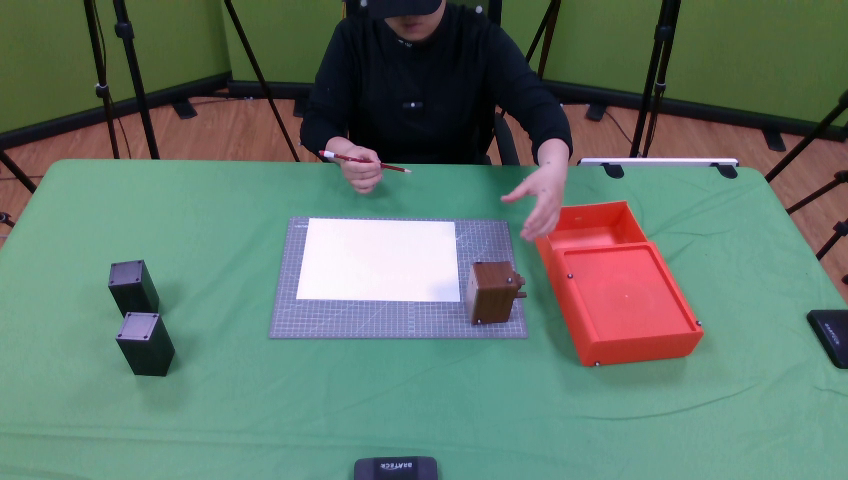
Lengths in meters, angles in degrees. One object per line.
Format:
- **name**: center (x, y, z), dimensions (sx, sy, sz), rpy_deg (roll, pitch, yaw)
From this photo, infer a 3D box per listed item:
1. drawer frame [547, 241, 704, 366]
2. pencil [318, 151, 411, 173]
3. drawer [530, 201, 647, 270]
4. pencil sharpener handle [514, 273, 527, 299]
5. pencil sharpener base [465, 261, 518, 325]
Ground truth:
- **drawer frame**: center (0.348, 0.106, 1.077), dimensions (0.202, 0.083, 0.212), rpy_deg (-4, 47, -9)
- **pencil**: center (-0.120, -0.156, 1.229), dimensions (0.194, 0.012, 0.012), rpy_deg (12, 46, 1)
- **drawer**: center (0.329, 0.025, 1.159), dimensions (0.195, 0.073, 0.210), rpy_deg (-5, 46, -9)
- **pencil sharpener handle**: center (0.168, 0.080, 1.051), dimensions (0.031, 0.068, 0.036), rpy_deg (-3, 51, -7)
- **pencil sharpener base**: center (0.117, 0.093, 1.052), dimensions (0.077, 0.107, 0.061), rpy_deg (-3, 46, -7)
